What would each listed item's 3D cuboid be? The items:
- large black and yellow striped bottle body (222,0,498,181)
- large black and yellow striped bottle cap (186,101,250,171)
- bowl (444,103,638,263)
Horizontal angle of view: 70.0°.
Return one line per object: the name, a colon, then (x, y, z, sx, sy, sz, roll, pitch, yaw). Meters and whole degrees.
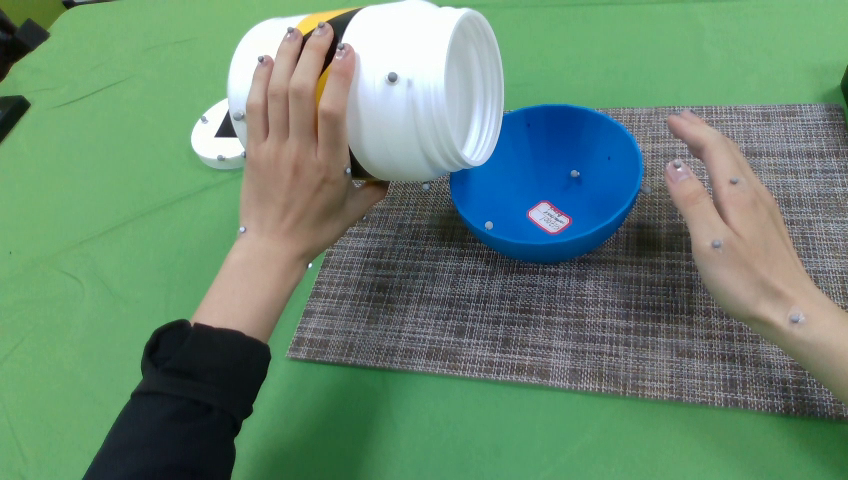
large black and yellow striped bottle body: (-0.046, -0.111, 0.472, 0.183, 0.132, 0.130, 4, 55, 27)
large black and yellow striped bottle cap: (-0.221, -0.128, 0.706, 0.115, 0.019, 0.114, -6, 52, 9)
bowl: (0.097, -0.034, 0.504, 0.151, 0.077, 0.150, -7, 52, 9)
